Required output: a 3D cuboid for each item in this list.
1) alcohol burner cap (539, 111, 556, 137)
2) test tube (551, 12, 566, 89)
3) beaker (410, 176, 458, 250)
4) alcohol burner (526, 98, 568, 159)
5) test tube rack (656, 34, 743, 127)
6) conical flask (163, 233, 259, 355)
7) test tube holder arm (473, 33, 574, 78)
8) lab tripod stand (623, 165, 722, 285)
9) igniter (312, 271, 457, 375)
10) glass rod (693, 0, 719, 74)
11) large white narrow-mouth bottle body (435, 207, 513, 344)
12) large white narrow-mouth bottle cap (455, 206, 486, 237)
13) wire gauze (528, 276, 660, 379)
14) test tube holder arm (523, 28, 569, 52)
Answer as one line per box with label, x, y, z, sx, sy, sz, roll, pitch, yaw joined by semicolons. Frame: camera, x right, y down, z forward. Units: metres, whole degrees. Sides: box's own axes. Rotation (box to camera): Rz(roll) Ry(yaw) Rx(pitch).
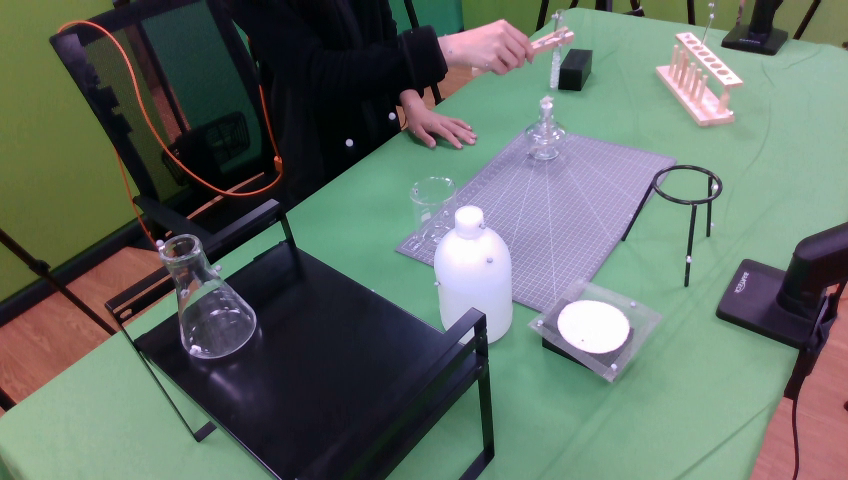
alcohol burner cap;0.243;-0.232;1.196;0.034;0.048;0.033;-5;38;4
test tube;0.222;-0.311;1.004;0.017;0.151;0.017;-4;55;6
beaker;0.022;-0.041;0.964;0.073;0.101;0.084;28;51;35
alcohol burner;0.228;-0.210;1.118;0.078;0.119;0.077;-5;43;5
test tube rack;0.553;-0.330;1.233;0.067;0.085;0.241;-7;40;2
conical flask;-0.216;0.051;0.601;0.075;0.122;0.075;-4;40;4
test tube holder arm;0.160;-0.296;0.968;0.179;0.015;0.013;-23;55;-10
lab tripod stand;0.365;-0.030;0.875;0.148;0.132;0.147;-6;41;6
igniter;-0.068;0.111;0.859;0.274;0.025;0.057;27;61;34
glass rod;0.561;-0.401;1.214;0.008;0.200;0.008;-1;48;2
large white narrow-mouth bottle body;0.065;0.041;0.791;0.102;0.195;0.101;-4;41;4
large white narrow-mouth bottle cap;0.057;-0.023;0.734;0.038;0.024;0.037;-4;41;4
wire gauze;0.214;0.103;0.763;0.124;0.011;0.122;30;52;35
test tube holder arm;0.197;-0.319;0.980;0.088;0.015;0.010;-30;57;-14
